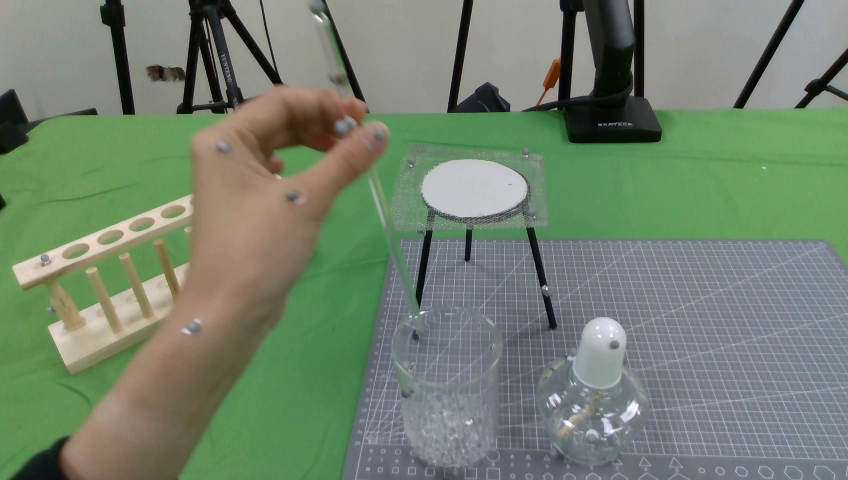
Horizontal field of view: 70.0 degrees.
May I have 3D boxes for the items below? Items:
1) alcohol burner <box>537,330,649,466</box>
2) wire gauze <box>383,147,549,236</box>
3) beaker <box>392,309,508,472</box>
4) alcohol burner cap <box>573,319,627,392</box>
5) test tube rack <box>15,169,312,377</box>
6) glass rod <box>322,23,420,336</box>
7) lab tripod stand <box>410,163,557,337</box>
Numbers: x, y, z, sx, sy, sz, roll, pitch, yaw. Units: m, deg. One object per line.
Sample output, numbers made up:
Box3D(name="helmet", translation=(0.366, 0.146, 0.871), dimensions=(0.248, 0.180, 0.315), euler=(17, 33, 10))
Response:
Box3D(name="alcohol burner", translation=(0.118, 0.101, 0.418), dimensions=(0.078, 0.120, 0.077), euler=(-2, 39, 2))
Box3D(name="wire gauze", translation=(0.037, -0.041, 0.486), dimensions=(0.121, 0.011, 0.124), euler=(3, 38, 7))
Box3D(name="beaker", translation=(0.017, 0.108, 0.430), dimensions=(0.074, 0.101, 0.083), euler=(-29, 43, -30))
Box3D(name="alcohol burner cap", translation=(0.117, 0.073, 0.396), dimensions=(0.034, 0.048, 0.033), euler=(0, 39, 1))
Box3D(name="test tube rack", translation=(-0.235, 0.022, 0.581), dimensions=(0.242, 0.086, 0.066), euler=(-28, 43, -29))
Box3D(name="glass rod", translation=(-0.024, -0.016, 0.324), dimensions=(0.008, 0.202, 0.008), euler=(-8, 39, 7))
Box3D(name="lab tripod stand", translation=(0.049, 0.011, 0.528), dimensions=(0.148, 0.132, 0.147), euler=(-1, 36, 1))
